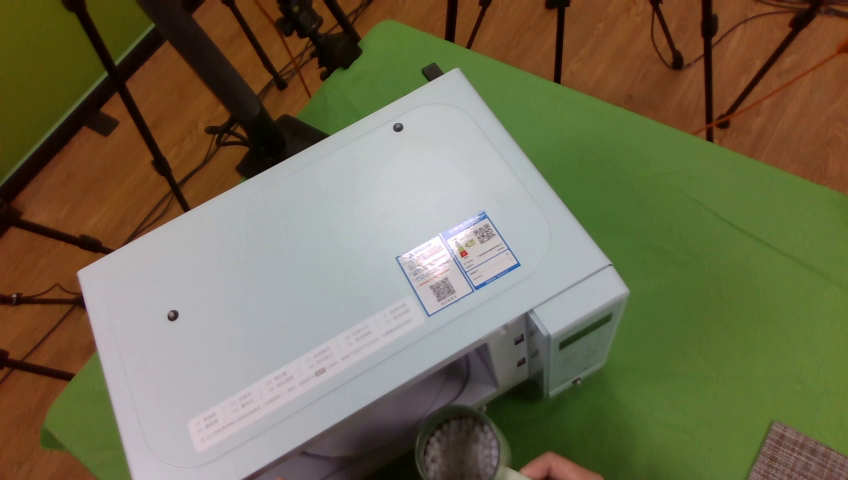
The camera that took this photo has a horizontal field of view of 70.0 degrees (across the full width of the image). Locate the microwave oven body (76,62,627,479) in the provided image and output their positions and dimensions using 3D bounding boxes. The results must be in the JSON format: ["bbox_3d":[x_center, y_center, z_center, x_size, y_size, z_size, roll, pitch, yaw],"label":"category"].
[{"bbox_3d":[-0.070,0.076,0.662,0.442,0.262,0.323,-30,63,-4],"label":"microwave oven body"}]

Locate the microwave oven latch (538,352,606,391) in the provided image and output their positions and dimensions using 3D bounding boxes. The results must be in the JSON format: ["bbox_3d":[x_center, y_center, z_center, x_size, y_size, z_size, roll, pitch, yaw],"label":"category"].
[{"bbox_3d":[0.169,0.142,0.695,0.079,0.030,0.030,-28,63,-3],"label":"microwave oven latch"}]

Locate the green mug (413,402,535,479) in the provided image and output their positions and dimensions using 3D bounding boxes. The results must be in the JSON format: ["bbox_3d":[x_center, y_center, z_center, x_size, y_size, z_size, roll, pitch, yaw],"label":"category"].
[{"bbox_3d":[0.050,0.212,0.582,0.125,0.106,0.092,21,69,17],"label":"green mug"}]
